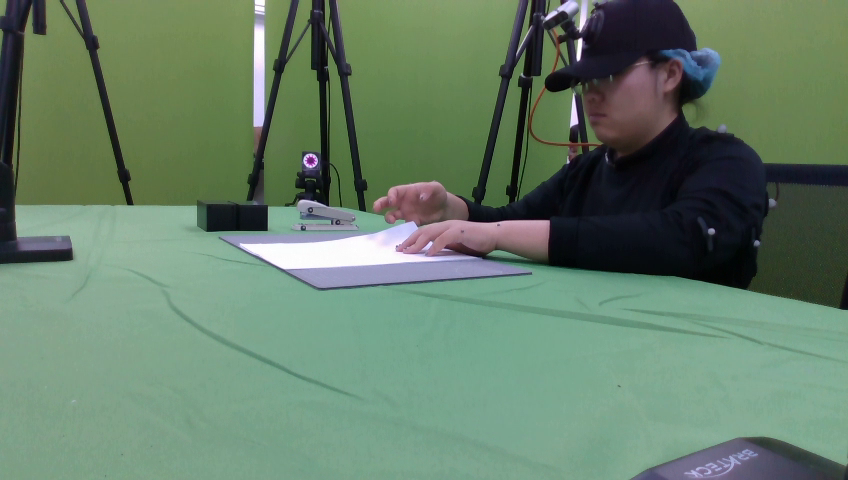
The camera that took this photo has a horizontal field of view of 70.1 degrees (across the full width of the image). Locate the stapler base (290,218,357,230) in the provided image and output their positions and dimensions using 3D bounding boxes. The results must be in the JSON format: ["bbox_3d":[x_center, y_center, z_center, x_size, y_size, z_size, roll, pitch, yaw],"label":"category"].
[{"bbox_3d":[-0.199,-0.033,1.201,0.131,0.024,0.041,2,10,-25],"label":"stapler base"}]

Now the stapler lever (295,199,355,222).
[{"bbox_3d":[-0.196,-0.058,1.199,0.118,0.040,0.026,2,10,-25],"label":"stapler lever"}]
